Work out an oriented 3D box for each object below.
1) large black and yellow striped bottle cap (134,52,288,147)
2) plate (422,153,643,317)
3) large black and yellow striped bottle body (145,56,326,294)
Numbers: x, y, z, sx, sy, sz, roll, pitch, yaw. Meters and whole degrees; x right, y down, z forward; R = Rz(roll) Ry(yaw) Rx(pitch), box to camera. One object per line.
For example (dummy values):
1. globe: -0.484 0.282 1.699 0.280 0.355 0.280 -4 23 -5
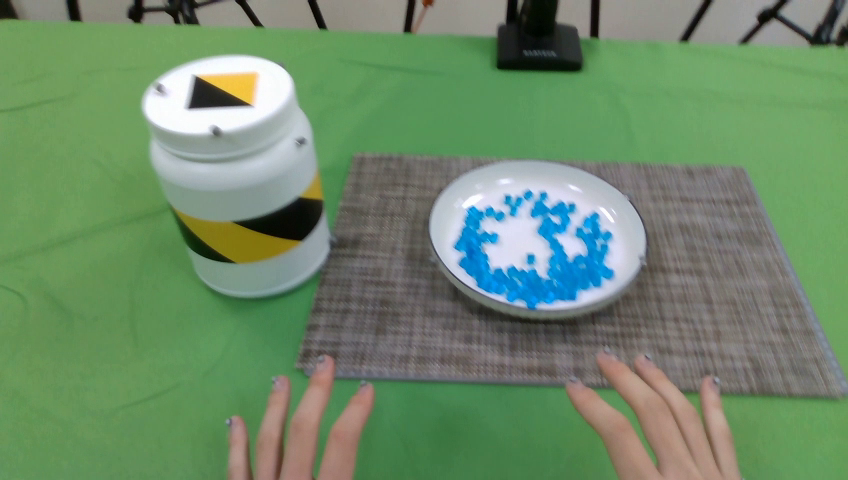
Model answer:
1. large black and yellow striped bottle cap: -0.166 -0.114 0.477 0.115 0.019 0.114 1 46 -1
2. plate: 0.102 -0.006 0.586 0.208 0.039 0.205 0 46 0
3. large black and yellow striped bottle body: -0.163 -0.055 0.538 0.131 0.185 0.129 0 47 1
